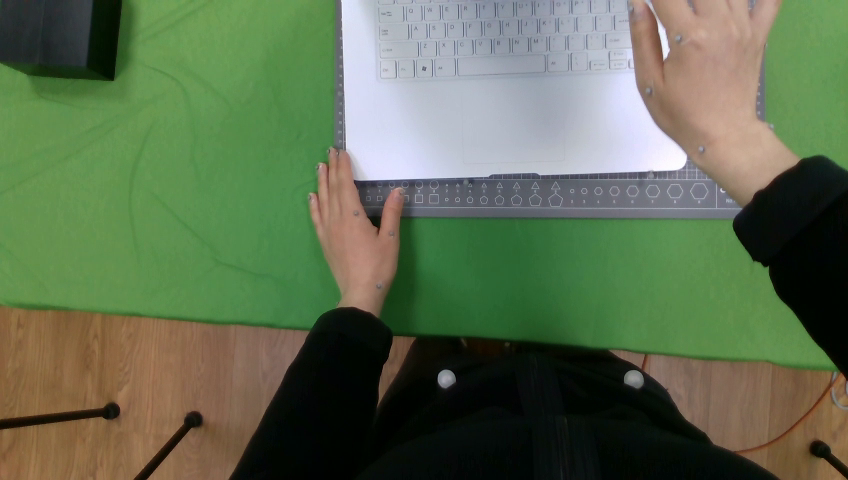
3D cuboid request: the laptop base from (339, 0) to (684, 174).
[{"bbox_3d":[0.089,-0.191,0.633,0.354,0.023,0.235,-2,92,2],"label":"laptop base"}]
